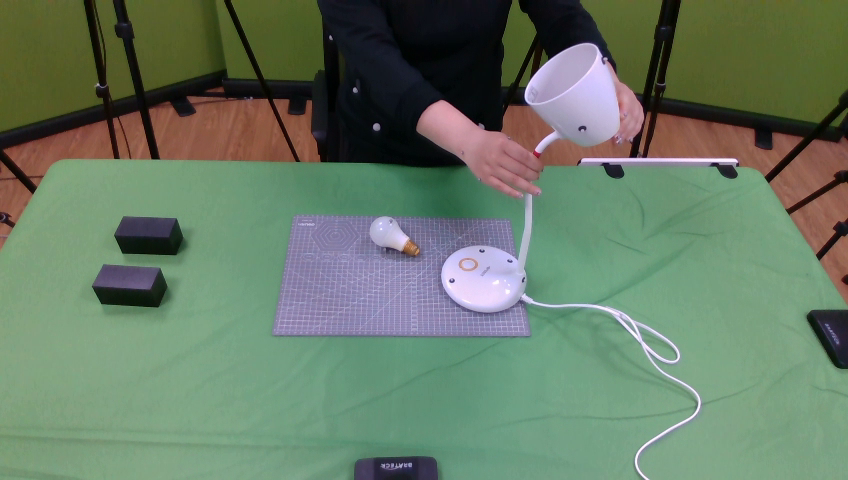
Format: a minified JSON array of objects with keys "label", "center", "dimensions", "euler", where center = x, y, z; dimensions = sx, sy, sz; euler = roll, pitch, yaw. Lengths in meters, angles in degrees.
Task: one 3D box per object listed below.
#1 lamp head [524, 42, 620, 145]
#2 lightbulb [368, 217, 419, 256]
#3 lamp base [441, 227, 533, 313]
[{"label":"lamp head","center":[0.211,-0.186,0.828],"dimensions":[0.112,0.123,0.111],"euler":[-28,34,21]},{"label":"lightbulb","center":[-0.058,-0.002,1.173],"dimensions":[0.107,0.060,0.059],"euler":[32,50,4]},{"label":"lamp base","center":[0.126,0.022,1.072],"dimensions":[0.179,0.181,0.160],"euler":[23,49,13]}]
